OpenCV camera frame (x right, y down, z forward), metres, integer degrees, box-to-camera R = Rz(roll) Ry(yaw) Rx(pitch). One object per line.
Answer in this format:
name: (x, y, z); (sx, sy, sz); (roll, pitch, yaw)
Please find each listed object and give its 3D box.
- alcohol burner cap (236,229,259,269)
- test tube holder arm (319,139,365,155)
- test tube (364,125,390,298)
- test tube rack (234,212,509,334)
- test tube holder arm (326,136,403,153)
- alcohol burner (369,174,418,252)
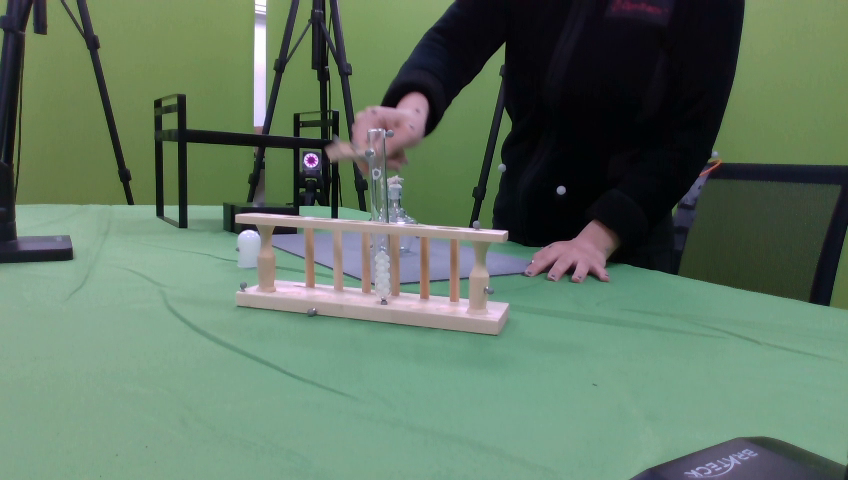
alcohol burner cap: (-0.220, 0.010, 0.759); (0.034, 0.048, 0.034); (0, 12, 0)
test tube holder arm: (-0.082, -0.097, 0.638); (0.010, 0.015, 0.088); (-25, -2, 24)
test tube: (-0.040, -0.023, 0.523); (0.017, 0.150, 0.017); (-2, 8, 1)
test tube rack: (-0.047, 0.023, 0.547); (0.242, 0.085, 0.067); (4, 8, 15)
test tube holder arm: (-0.061, -0.105, 0.678); (0.013, 0.015, 0.179); (-25, -2, 23)
alcohol burner: (-0.047, -0.041, 0.922); (0.078, 0.119, 0.078); (1, 9, 0)
